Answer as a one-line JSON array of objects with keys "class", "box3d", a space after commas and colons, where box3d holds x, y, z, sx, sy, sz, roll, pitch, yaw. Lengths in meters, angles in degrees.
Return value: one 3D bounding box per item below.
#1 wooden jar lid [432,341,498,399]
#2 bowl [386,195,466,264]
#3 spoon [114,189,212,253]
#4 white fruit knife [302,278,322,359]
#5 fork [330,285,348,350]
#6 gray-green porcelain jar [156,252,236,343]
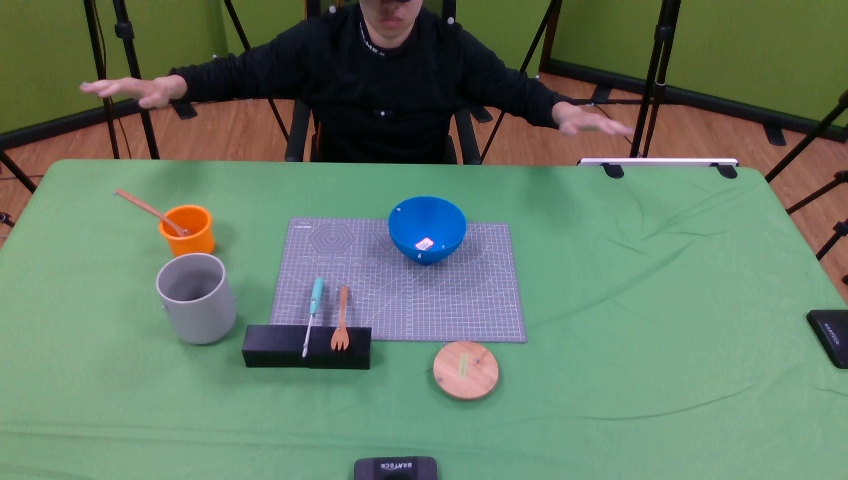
[{"class": "wooden jar lid", "box3d": [0.067, 0.216, 0.997, 0.108, 0.021, 0.107, 1, 46, -1]}, {"class": "bowl", "box3d": [0.002, -0.007, 1.162, 0.151, 0.077, 0.150, 2, 46, -2]}, {"class": "spoon", "box3d": [-0.475, -0.037, 1.109, 0.021, 0.195, 0.041, -29, 34, 32]}, {"class": "white fruit knife", "box3d": [-0.189, 0.126, 1.020, 0.016, 0.027, 0.206, 0, 33, -2]}, {"class": "fork", "box3d": [-0.140, 0.127, 1.021, 0.028, 0.019, 0.206, -5, 28, -2]}, {"class": "gray-green porcelain jar", "box3d": [-0.371, 0.100, 0.999, 0.106, 0.127, 0.105, 2, 46, -2]}]
